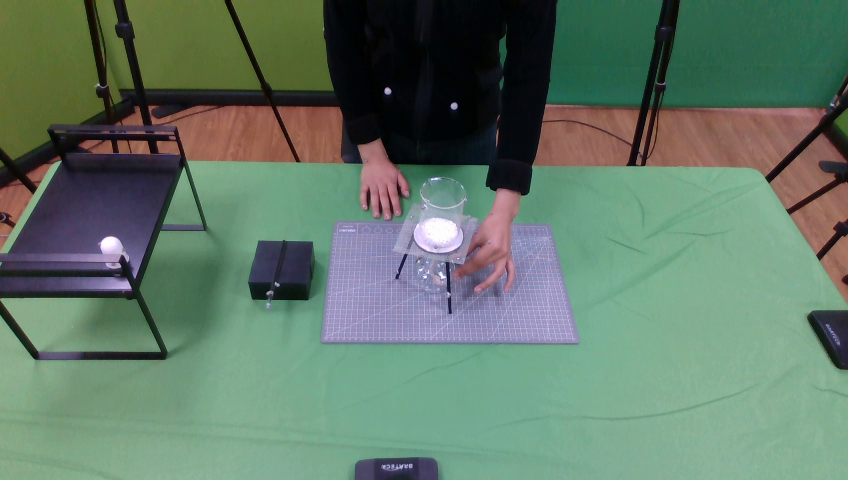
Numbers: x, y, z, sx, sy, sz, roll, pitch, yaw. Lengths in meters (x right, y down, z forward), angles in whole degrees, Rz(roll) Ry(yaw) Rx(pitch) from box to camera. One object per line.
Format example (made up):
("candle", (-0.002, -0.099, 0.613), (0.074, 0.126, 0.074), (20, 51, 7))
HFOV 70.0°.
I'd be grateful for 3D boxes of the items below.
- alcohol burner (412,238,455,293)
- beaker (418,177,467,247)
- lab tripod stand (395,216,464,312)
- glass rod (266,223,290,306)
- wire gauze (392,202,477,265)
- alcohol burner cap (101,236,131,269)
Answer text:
("alcohol burner", (0.019, 0.040, 1.094), (0.078, 0.119, 0.077), (4, 45, -3))
("beaker", (0.026, -0.045, 1.004), (0.074, 0.101, 0.083), (-20, 51, -23))
("lab tripod stand", (0.023, 0.037, 1.084), (0.148, 0.132, 0.147), (3, 47, -3))
("glass rod", (-0.260, 0.039, 1.083), (0.008, 0.008, 0.198), (3, 46, -1))
("wire gauze", (0.021, -0.011, 1.038), (0.121, 0.011, 0.124), (13, 49, 8))
("alcohol burner cap", (-0.452, 0.016, 0.883), (0.034, 0.048, 0.033), (2, 47, -1))
